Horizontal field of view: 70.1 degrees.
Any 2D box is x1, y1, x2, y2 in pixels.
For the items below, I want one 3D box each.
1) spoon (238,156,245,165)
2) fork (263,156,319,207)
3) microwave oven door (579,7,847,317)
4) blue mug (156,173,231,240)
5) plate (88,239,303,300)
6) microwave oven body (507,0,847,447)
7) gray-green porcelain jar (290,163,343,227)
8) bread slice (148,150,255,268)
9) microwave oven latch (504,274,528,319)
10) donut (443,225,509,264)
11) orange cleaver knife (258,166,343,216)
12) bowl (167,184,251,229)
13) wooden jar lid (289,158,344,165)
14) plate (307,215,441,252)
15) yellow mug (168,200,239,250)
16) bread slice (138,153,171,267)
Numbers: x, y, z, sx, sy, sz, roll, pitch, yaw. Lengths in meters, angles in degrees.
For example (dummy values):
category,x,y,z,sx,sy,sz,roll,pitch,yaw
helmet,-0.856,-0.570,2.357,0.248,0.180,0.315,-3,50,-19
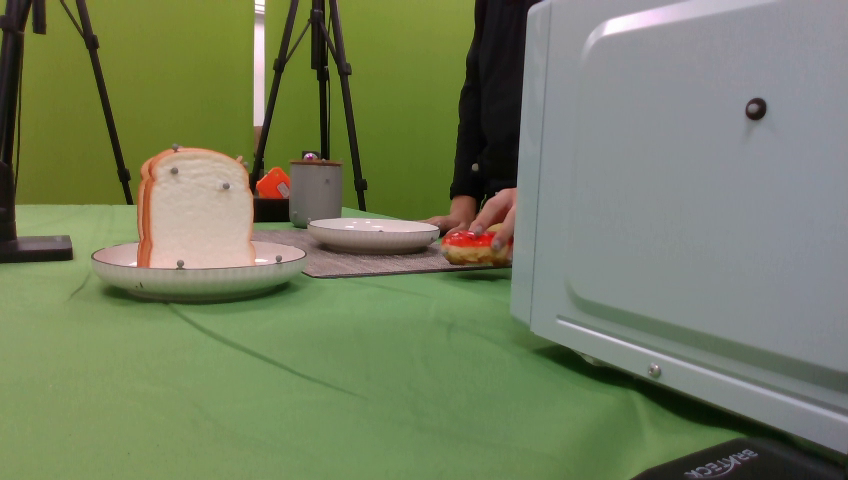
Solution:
category,x,y,z,sx,sy,sz,roll,pitch,yaw
spoon,-0.477,-0.145,1.492,0.041,0.022,0.193,-1,51,13
fork,-0.331,-0.144,1.506,0.207,0.018,0.028,-42,-21,22
microwave oven door,0.294,-0.067,0.570,0.358,0.243,0.039,-3,9,-31
blue mug,-0.381,-0.057,1.004,0.117,0.106,0.082,0,8,-12
plate,-0.233,0.029,0.637,0.208,0.039,0.207,2,7,0
microwave oven body,0.331,-0.042,0.425,0.444,0.260,0.324,-2,8,-31
gray-green porcelain jar,-0.217,-0.091,1.221,0.106,0.126,0.106,2,7,0
bread slice,-0.230,-0.024,0.618,0.107,0.134,0.018,-8,10,-34
microwave oven latch,0.100,0.041,0.471,0.079,0.029,0.030,-1,7,-27
donut,0.073,0.005,0.758,0.099,0.048,0.099,0,4,0
orange cleaver knife,-0.276,-0.090,1.369,0.212,0.077,0.012,33,-11,-34
bowl,-0.408,-0.064,1.155,0.151,0.077,0.151,2,8,0
wooden jar lid,-0.215,-0.153,1.212,0.108,0.020,0.108,2,5,0
plate,-0.078,-0.011,0.954,0.209,0.038,0.209,2,8,0
yellow mug,-0.319,-0.023,0.904,0.130,0.064,0.100,9,11,36
bread slice,-0.256,-0.029,0.660,0.105,0.131,0.019,-1,0,-36
